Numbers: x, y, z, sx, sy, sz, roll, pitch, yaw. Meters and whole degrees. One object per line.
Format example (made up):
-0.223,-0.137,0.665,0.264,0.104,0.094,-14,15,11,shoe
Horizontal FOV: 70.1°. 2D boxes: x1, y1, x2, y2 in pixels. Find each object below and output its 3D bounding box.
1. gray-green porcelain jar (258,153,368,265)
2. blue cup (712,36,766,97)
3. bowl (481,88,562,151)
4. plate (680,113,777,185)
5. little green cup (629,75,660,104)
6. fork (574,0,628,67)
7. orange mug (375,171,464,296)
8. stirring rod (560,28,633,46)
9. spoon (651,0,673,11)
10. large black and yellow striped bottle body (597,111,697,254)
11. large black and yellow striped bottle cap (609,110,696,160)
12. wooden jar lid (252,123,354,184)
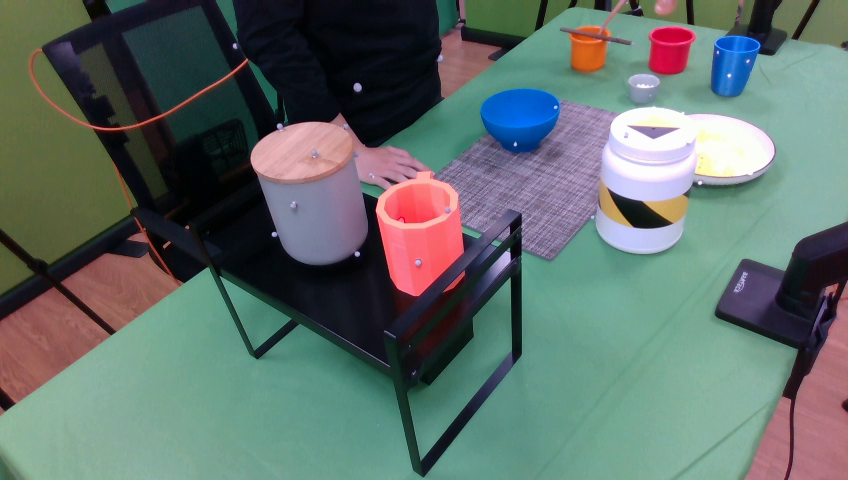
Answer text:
-0.122,-0.043,0.692,0.106,0.127,0.105,-4,40,4,gray-green porcelain jar
0.627,-0.350,1.227,0.092,0.100,0.092,-4,39,4,blue cup
0.187,-0.223,1.161,0.151,0.077,0.150,-4,40,4,bowl
0.506,-0.158,1.073,0.209,0.038,0.208,-5,40,4,plate
0.458,-0.313,1.260,0.061,0.039,0.061,-4,39,4,little green cup
0.413,-0.481,1.377,0.207,0.019,0.028,-56,43,12,fork
-0.001,-0.016,0.662,0.083,0.101,0.125,-2,45,8,orange mug
0.381,-0.452,1.344,0.174,0.006,0.014,26,50,33,stirring rod
0.526,-0.563,1.252,0.041,0.193,0.022,28,8,29,spoon
0.331,-0.086,0.904,0.131,0.185,0.130,-5,41,4,large black and yellow striped bottle body
0.319,-0.150,0.849,0.115,0.019,0.114,-4,39,3,large black and yellow striped bottle cap
-0.129,-0.090,0.652,0.108,0.021,0.108,-3,41,3,wooden jar lid
